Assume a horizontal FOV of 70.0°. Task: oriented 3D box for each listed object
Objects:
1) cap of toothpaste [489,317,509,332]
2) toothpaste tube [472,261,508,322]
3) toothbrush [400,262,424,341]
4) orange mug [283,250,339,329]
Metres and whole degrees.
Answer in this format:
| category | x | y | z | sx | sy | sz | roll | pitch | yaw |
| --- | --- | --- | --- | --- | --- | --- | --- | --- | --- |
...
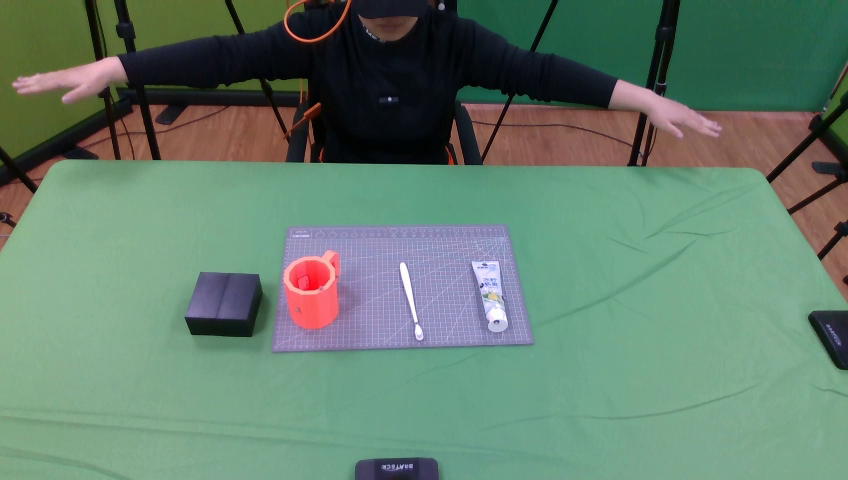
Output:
| category | x | y | z | sx | sy | sz | roll | pitch | yaw |
| --- | --- | --- | --- | --- | --- | --- | --- | --- | --- |
| cap of toothpaste | 0.130 | 0.145 | 1.050 | 0.037 | 0.037 | 0.011 | -1 | 42 | -5 |
| toothpaste tube | 0.126 | 0.094 | 1.109 | 0.055 | 0.034 | 0.164 | 3 | 41 | -9 |
| toothbrush | -0.025 | 0.106 | 1.093 | 0.014 | 0.017 | 0.180 | -18 | 46 | 2 |
| orange mug | -0.186 | 0.078 | 1.052 | 0.083 | 0.101 | 0.126 | 20 | 52 | 15 |
